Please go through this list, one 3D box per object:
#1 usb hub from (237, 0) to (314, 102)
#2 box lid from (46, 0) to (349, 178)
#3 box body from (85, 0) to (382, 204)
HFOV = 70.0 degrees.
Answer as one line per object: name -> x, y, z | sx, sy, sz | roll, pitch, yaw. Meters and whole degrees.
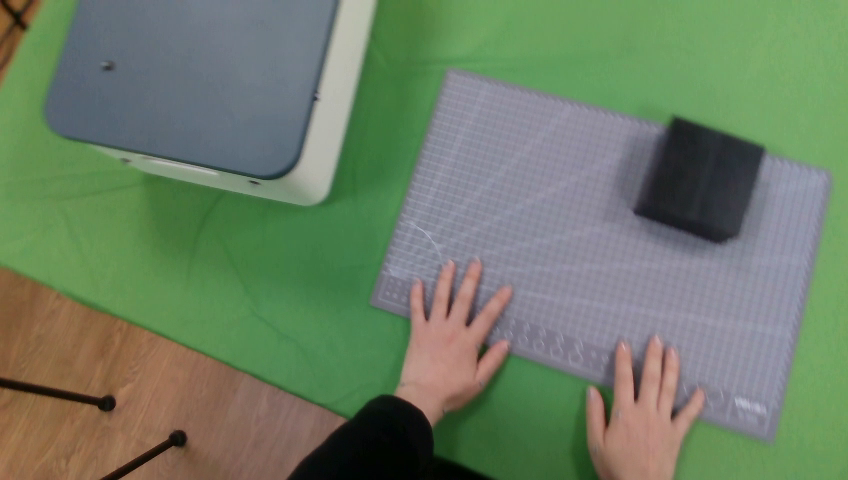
usb hub -> -0.178, -0.230, 0.732 | 0.049, 0.025, 0.124 | 18, 79, 9
box lid -> -0.203, -0.253, 0.602 | 0.263, 0.015, 0.370 | 13, 81, 6
box body -> -0.197, -0.240, 0.674 | 0.254, 0.161, 0.363 | 13, 81, 6
